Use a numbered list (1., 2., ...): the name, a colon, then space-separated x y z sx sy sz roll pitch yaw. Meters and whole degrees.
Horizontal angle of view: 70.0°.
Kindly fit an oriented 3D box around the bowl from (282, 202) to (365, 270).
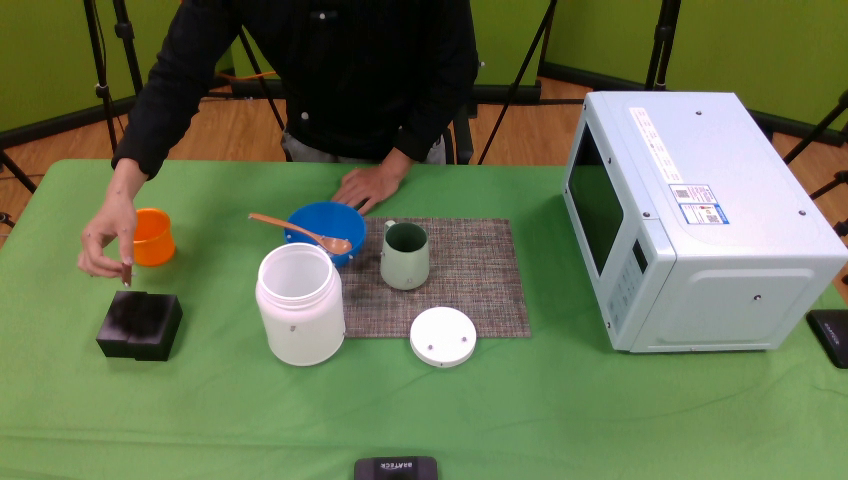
1. bowl: -0.185 0.006 1.137 0.151 0.077 0.150 3 46 -3

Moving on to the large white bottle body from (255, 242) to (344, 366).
1. large white bottle body: -0.196 0.102 0.967 0.131 0.185 0.130 2 49 -2

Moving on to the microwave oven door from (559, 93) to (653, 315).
1. microwave oven door: 0.327 -0.074 1.123 0.039 0.245 0.353 0 46 -5

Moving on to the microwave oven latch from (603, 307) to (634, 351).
1. microwave oven latch: 0.332 0.153 1.044 0.030 0.029 0.078 0 45 -4

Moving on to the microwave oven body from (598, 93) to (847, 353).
1. microwave oven body: 0.475 -0.041 1.109 0.326 0.261 0.438 -1 45 -4

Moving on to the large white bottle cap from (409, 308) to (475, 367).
1. large white bottle cap: 0.031 0.166 1.041 0.115 0.018 0.114 2 47 -2

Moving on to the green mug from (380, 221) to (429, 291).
1. green mug: -0.043 0.020 1.116 0.092 0.105 0.124 -20 50 -21

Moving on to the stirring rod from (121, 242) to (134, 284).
1. stirring rod: -0.463 0.034 0.948 0.006 0.014 0.175 -48 29 -2

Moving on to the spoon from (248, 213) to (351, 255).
1. spoon: -0.228 -0.014 1.113 0.194 0.022 0.041 23 41 -15
